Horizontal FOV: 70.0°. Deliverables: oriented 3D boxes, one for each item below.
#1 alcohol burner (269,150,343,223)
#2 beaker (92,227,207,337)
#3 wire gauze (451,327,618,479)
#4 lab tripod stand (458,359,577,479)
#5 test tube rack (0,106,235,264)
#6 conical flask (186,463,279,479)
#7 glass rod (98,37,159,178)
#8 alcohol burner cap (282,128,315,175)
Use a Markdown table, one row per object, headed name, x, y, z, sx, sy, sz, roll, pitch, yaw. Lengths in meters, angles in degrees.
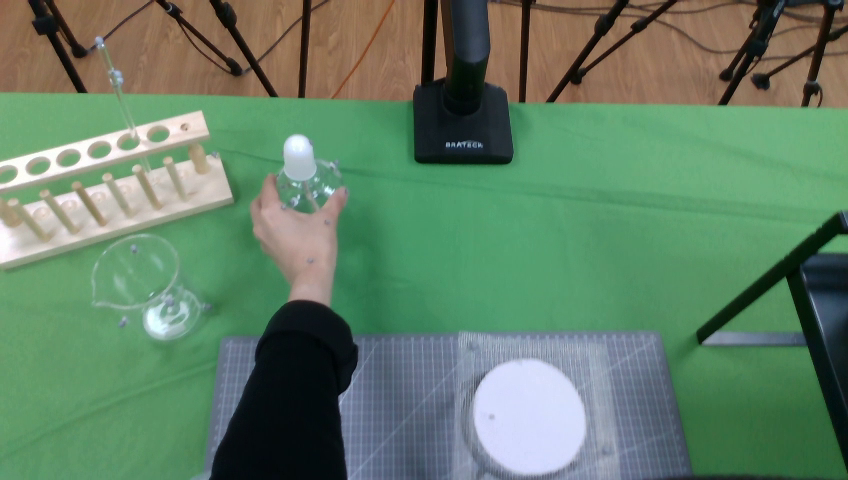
| name | x | y | z | sx | sy | sz | roll | pitch | yaw |
| --- | --- | --- | --- | --- | --- | --- | --- | --- | --- |
| alcohol burner | -0.125 | -0.070 | 0.630 | 0.078 | 0.120 | 0.077 | 0 | 59 | 0 |
| beaker | -0.257 | 0.047 | 0.576 | 0.084 | 0.101 | 0.073 | -40 | 70 | -21 |
| wire gauze | 0.083 | 0.126 | 0.456 | 0.121 | 0.011 | 0.124 | 5 | 62 | -2 |
| lab tripod stand | 0.072 | 0.163 | 0.513 | 0.148 | 0.132 | 0.147 | 2 | 60 | -3 |
| test tube rack | -0.336 | -0.058 | 0.636 | 0.243 | 0.086 | 0.066 | -18 | 64 | -13 |
| conical flask | -0.156 | 0.207 | 0.480 | 0.075 | 0.123 | 0.074 | 1 | 61 | -2 |
| glass rod | -0.286 | -0.120 | 0.597 | 0.008 | 0.201 | 0.008 | 4 | 59 | -7 |
| alcohol burner cap | -0.125 | -0.090 | 0.599 | 0.034 | 0.048 | 0.033 | 4 | 59 | -6 |
